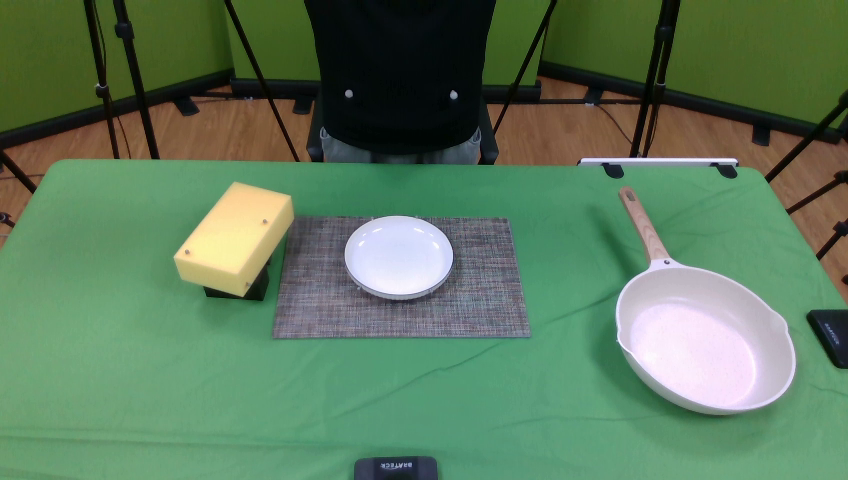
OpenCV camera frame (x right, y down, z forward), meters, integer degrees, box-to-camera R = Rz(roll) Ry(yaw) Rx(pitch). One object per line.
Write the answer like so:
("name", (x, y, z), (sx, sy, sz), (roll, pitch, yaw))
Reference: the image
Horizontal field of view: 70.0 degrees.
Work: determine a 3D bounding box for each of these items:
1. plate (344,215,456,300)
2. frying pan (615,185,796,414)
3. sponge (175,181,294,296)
("plate", (-0.045, 0.035, 1.146), (0.208, 0.039, 0.206), (2, 46, -2))
("frying pan", (0.450, 0.087, 1.092), (0.307, 0.103, 0.484), (-4, 55, -10))
("sponge", (-0.332, -0.008, 1.086), (0.118, 0.061, 0.206), (14, 47, 9))
